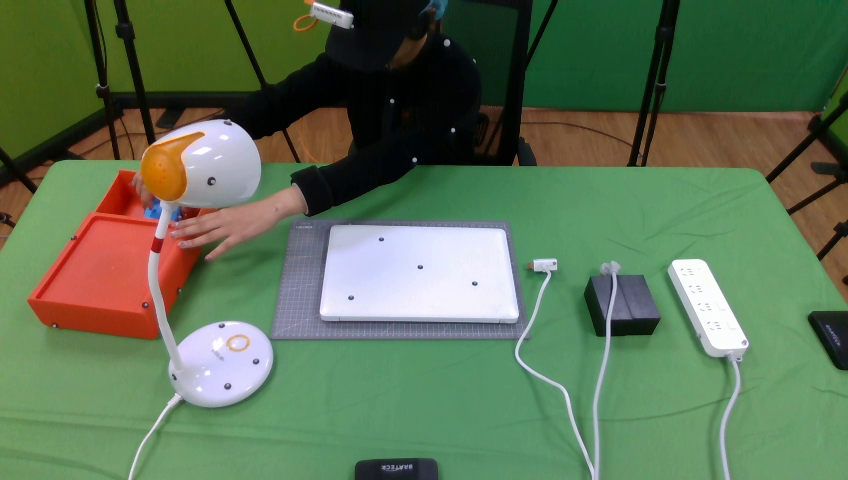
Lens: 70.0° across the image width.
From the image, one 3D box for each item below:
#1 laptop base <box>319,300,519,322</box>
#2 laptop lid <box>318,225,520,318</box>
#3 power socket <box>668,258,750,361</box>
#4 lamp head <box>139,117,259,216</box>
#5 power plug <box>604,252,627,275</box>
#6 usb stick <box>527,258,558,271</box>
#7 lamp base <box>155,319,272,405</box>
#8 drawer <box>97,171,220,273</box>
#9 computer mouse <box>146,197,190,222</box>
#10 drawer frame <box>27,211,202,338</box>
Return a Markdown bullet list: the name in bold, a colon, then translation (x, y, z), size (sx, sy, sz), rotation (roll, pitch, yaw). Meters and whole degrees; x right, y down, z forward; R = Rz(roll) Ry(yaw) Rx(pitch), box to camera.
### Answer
- **laptop base**: translation (-0.009, 0.062, 1.137), size (0.354, 0.023, 0.234), rotation (1, 42, -3)
- **laptop lid**: translation (-0.009, 0.052, 1.131), size (0.357, 0.013, 0.240), rotation (2, 43, -2)
- **power socket**: translation (0.517, 0.118, 1.109), size (0.072, 0.033, 0.225), rotation (-2, 46, -4)
- **lamp head**: translation (-0.281, -0.086, 0.734), size (0.112, 0.113, 0.123), rotation (21, 25, 16)
- **power plug**: translation (0.367, 0.039, 1.129), size (0.035, 0.072, 0.052), rotation (40, 57, -10)
- **usb stick**: translation (0.226, 0.046, 1.158), size (0.059, 0.021, 0.027), rotation (-3, 8, 10)
- **lamp base**: translation (-0.330, 0.149, 0.918), size (0.160, 0.181, 0.179), rotation (26, 52, 20)
- **drawer**: translation (-0.517, -0.034, 1.156), size (0.194, 0.073, 0.210), rotation (6, 46, -1)
- **computer mouse**: translation (-0.503, -0.041, 1.174), size (0.063, 0.041, 0.116), rotation (8, 55, 2)
- **drawer frame**: translation (-0.529, 0.056, 1.063), size (0.202, 0.083, 0.212), rotation (7, 46, 1)
